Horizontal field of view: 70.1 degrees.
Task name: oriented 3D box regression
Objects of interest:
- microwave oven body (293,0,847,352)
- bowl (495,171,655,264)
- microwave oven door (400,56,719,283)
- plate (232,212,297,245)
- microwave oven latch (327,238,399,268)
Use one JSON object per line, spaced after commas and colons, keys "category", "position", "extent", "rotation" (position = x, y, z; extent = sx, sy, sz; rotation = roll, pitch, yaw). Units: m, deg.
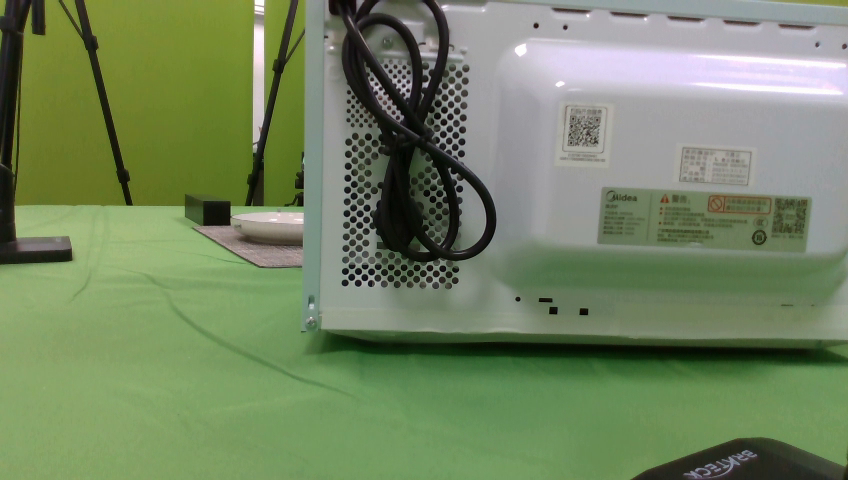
{"category": "microwave oven body", "position": [0.122, -0.055, 0.550], "extent": [0.442, 0.260, 0.325], "rotation": [3, 7, -5]}
{"category": "bowl", "position": [0.144, -0.023, 0.592], "extent": [0.151, 0.077, 0.151], "rotation": [1, 11, 0]}
{"category": "microwave oven door", "position": [0.155, -0.078, 0.698], "extent": [0.356, 0.243, 0.039], "rotation": [2, 8, -5]}
{"category": "plate", "position": [-0.214, -0.019, 1.018], "extent": [0.208, 0.039, 0.207], "rotation": [2, 7, 0]}
{"category": "microwave oven latch", "position": [-0.069, 0.015, 0.694], "extent": [0.079, 0.029, 0.030], "rotation": [3, 7, -3]}
